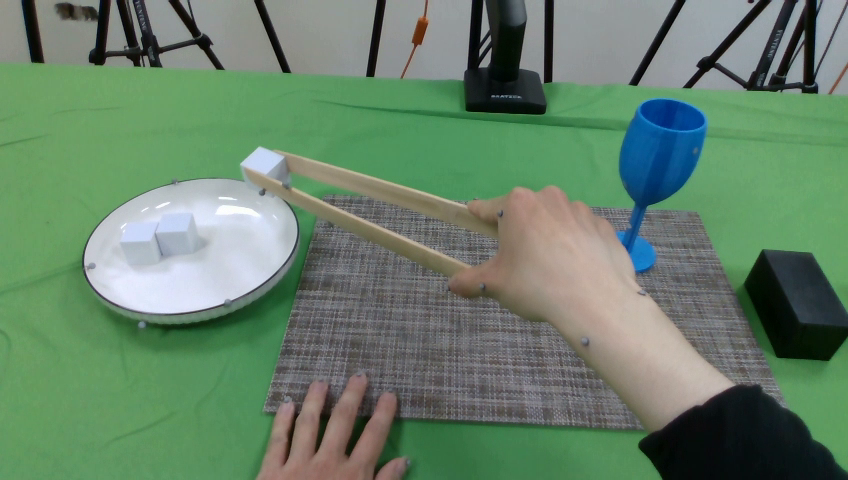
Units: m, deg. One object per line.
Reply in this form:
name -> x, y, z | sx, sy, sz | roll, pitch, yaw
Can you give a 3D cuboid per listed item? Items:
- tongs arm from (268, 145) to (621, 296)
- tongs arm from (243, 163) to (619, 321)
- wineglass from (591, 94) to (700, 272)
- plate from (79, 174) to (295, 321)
tongs arm -> -0.009, -0.031, 0.522 | 0.384, 0.028, 0.028 | 21, 49, 33
tongs arm -> -0.024, -0.016, 0.511 | 0.381, 0.027, 0.050 | 25, 55, 36
wineglass -> 0.218, -0.054, 0.612 | 0.074, 0.174, 0.073 | 1, 42, -1
plate -> -0.236, 0.007, 0.625 | 0.209, 0.038, 0.207 | 2, 42, -1
